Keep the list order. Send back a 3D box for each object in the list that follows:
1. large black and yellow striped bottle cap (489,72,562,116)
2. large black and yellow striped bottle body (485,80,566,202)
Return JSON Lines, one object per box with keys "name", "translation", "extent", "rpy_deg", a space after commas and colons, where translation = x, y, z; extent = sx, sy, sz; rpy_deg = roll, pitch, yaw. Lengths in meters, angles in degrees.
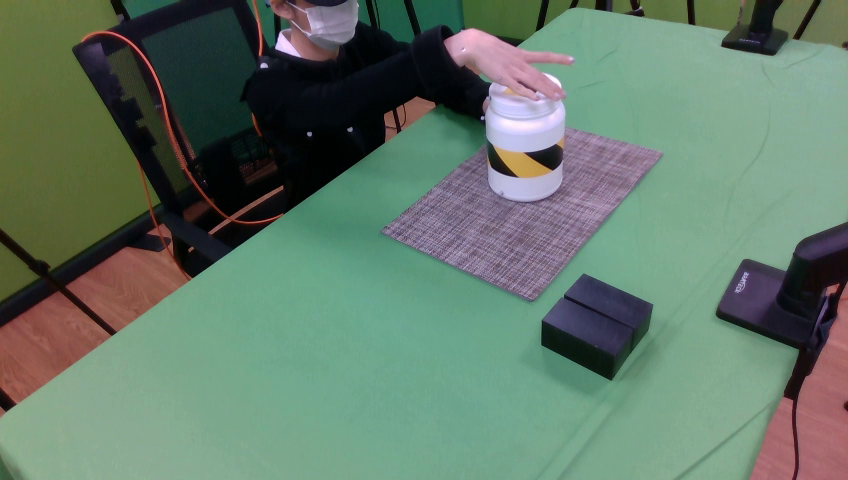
{"name": "large black and yellow striped bottle cap", "translation": [0.162, -0.235, 0.964], "extent": [0.115, 0.019, 0.114], "rpy_deg": [-5, 40, 5]}
{"name": "large black and yellow striped bottle body", "translation": [0.171, -0.171, 1.019], "extent": [0.131, 0.185, 0.130], "rpy_deg": [-5, 40, 4]}
